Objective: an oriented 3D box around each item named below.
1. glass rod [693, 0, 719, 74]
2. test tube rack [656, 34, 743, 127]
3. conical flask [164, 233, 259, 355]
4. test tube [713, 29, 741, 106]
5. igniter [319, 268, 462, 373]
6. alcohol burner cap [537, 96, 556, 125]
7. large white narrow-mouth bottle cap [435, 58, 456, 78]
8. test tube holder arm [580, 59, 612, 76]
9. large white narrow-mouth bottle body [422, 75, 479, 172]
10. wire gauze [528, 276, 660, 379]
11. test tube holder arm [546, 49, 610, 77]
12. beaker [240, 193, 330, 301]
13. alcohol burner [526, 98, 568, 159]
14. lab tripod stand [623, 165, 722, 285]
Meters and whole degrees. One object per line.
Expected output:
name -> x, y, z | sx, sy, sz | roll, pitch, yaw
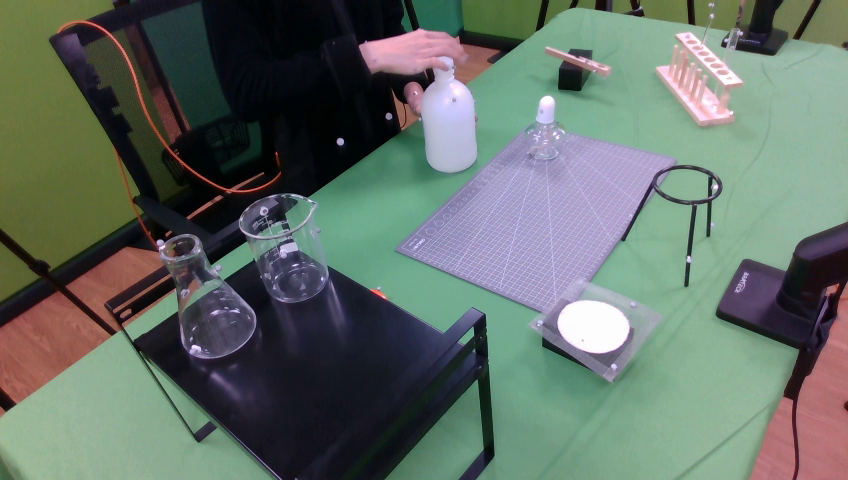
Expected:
glass rod -> 0.560, -0.401, 1.214 | 0.008, 0.200, 0.008 | -1, 48, 2
test tube rack -> 0.553, -0.330, 1.233 | 0.067, 0.085, 0.241 | -7, 40, 2
conical flask -> -0.216, 0.051, 0.601 | 0.075, 0.122, 0.075 | -4, 40, 4
test tube -> 0.572, -0.324, 1.146 | 0.017, 0.151, 0.017 | -3, 39, 3
igniter -> -0.059, 0.107, 0.862 | 0.274, 0.025, 0.057 | 28, 62, 34
alcohol burner cap -> 0.223, -0.237, 1.095 | 0.034, 0.048, 0.033 | -1, 42, 1
large white narrow-mouth bottle cap -> 0.037, -0.299, 1.049 | 0.038, 0.024, 0.037 | -4, 40, 4
test tube holder arm -> 0.363, -0.369, 1.288 | 0.010, 0.015, 0.087 | -28, 43, -28
large white narrow-mouth bottle body -> 0.047, -0.228, 1.111 | 0.102, 0.195, 0.101 | -4, 41, 4
wire gauze -> 0.213, 0.103, 0.763 | 0.124, 0.011, 0.122 | 30, 52, 35
test tube holder arm -> 0.332, -0.387, 1.315 | 0.013, 0.015, 0.177 | -26, 43, -27
beaker -> -0.144, 0.009, 0.656 | 0.084, 0.101, 0.073 | -25, 43, -19
alcohol burner -> 0.228, -0.210, 1.118 | 0.078, 0.119, 0.077 | -5, 43, 5
lab tripod stand -> 0.365, -0.030, 0.875 | 0.148, 0.132, 0.147 | -6, 41, 6
